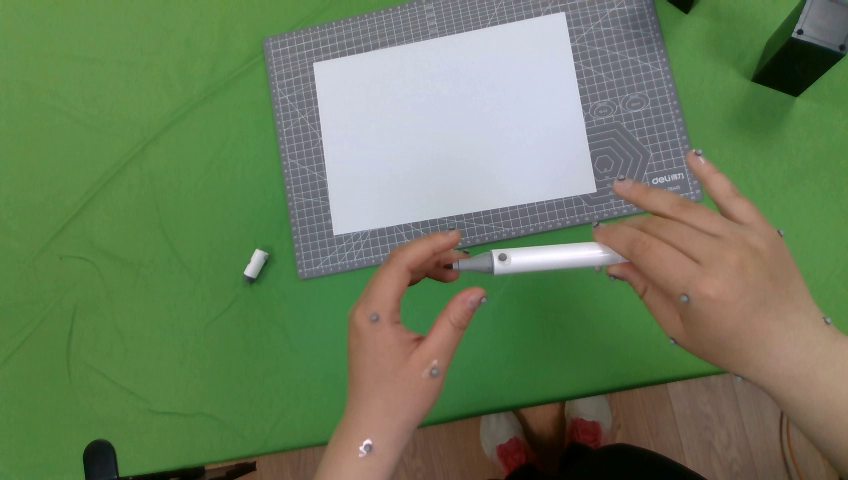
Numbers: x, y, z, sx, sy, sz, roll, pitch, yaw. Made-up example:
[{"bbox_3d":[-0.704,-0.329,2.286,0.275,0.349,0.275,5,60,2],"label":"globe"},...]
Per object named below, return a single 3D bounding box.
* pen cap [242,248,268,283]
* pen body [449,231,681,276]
[{"bbox_3d":[-0.195,0.030,0.696,0.017,0.017,0.038,27,87,11],"label":"pen cap"},{"bbox_3d":[0.087,0.010,0.379,0.144,0.017,0.017,-6,81,-1],"label":"pen body"}]
